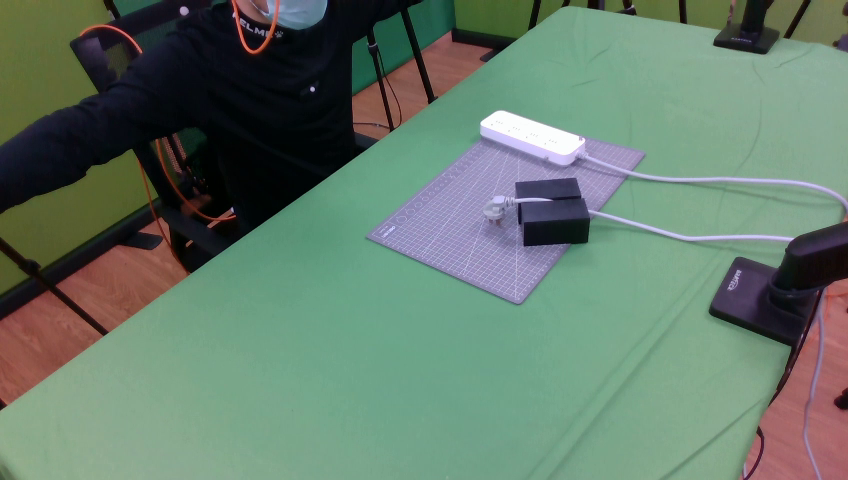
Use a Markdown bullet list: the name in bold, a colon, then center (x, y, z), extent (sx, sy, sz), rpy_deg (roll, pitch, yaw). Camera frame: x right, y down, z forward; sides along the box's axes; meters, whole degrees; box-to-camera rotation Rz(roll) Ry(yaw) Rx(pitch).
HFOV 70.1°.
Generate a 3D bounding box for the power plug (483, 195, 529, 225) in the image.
- **power plug**: center (0.129, -0.044, 0.969), extent (0.072, 0.053, 0.035), rpy_deg (14, 49, 26)

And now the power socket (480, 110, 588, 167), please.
- **power socket**: center (0.204, -0.198, 1.157), extent (0.225, 0.033, 0.072), rpy_deg (29, 53, 34)
